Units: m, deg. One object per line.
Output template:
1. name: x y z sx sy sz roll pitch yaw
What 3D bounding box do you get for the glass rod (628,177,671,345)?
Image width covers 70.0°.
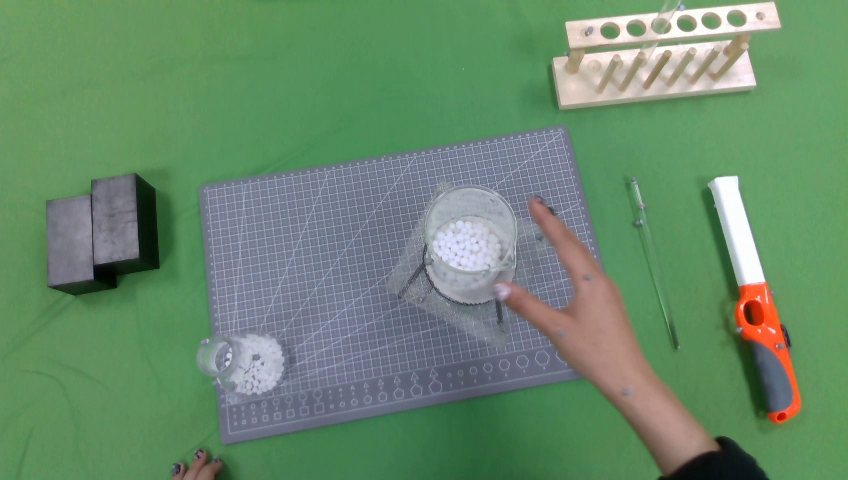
1. glass rod: 0.260 0.022 0.699 0.008 0.008 0.198 -9 79 -2

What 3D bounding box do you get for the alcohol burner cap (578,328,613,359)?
1. alcohol burner cap: 0.188 0.110 0.656 0.034 0.048 0.033 0 74 0

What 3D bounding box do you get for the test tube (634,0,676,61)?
1. test tube: 0.260 -0.245 0.676 0.017 0.151 0.017 -1 75 3

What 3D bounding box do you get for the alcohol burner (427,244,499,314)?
1. alcohol burner: 0.042 0.038 0.638 0.078 0.119 0.077 0 76 2

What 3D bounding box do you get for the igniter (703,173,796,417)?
1. igniter: 0.364 0.056 0.680 0.057 0.025 0.275 -5 76 -12

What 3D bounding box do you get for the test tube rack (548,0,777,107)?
1. test tube rack: 0.280 -0.220 0.721 0.242 0.085 0.066 -6 75 -1

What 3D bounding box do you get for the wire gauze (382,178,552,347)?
1. wire gauze: 0.041 0.017 0.565 0.125 0.011 0.121 27 80 5

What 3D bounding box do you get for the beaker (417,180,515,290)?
1. beaker: 0.037 0.003 0.519 0.083 0.101 0.074 39 80 10

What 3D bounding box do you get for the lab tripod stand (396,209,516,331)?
1. lab tripod stand: 0.039 0.032 0.630 0.148 0.132 0.147 0 77 1

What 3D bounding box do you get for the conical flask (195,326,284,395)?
1. conical flask: -0.191 0.118 0.614 0.075 0.122 0.075 0 75 0
